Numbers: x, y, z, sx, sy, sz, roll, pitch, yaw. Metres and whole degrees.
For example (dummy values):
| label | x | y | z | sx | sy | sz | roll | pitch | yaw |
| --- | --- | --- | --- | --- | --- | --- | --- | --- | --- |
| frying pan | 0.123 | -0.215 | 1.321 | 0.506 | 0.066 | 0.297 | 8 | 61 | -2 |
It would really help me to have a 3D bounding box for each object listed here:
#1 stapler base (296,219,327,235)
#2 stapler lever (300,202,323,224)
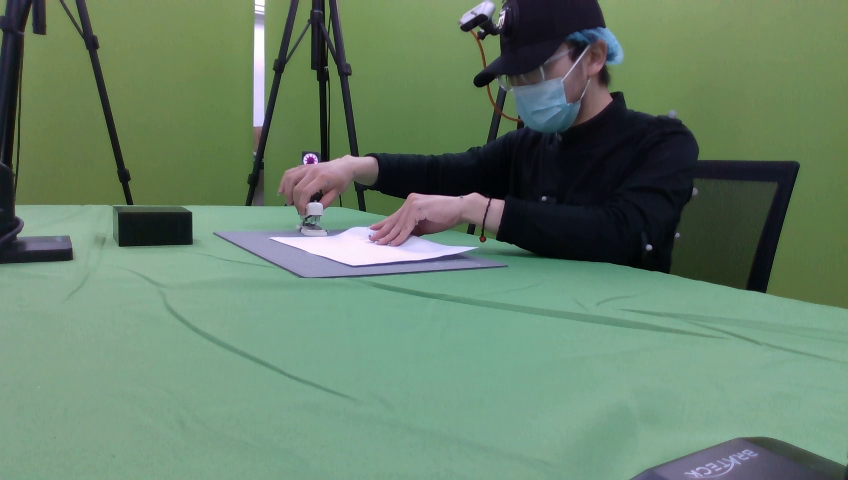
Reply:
| label | x | y | z | sx | sy | sz | roll | pitch | yaw |
| --- | --- | --- | --- | --- | --- | --- | --- | --- | --- |
| stapler base | -0.209 | -0.026 | 1.119 | 0.041 | 0.024 | 0.130 | 2 | 5 | -20 |
| stapler lever | -0.209 | -0.052 | 1.118 | 0.027 | 0.040 | 0.117 | 2 | 5 | -20 |
